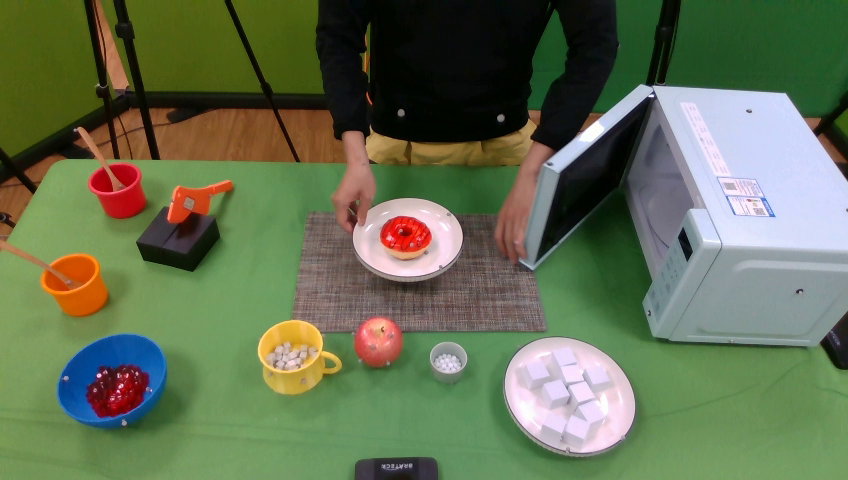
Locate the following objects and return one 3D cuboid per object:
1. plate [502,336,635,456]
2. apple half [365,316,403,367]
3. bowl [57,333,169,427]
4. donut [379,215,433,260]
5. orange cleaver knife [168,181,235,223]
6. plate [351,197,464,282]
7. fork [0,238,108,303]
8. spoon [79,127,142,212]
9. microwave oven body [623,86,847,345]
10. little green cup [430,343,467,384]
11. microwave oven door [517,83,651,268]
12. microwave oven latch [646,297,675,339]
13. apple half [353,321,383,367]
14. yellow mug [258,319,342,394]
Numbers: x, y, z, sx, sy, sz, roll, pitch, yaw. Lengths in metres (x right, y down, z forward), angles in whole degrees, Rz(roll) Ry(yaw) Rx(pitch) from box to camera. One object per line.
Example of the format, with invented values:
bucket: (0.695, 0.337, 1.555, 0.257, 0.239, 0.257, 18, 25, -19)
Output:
plate: (0.225, 0.248, 0.963, 0.208, 0.039, 0.206, 2, 46, -2)
apple half: (-0.063, 0.165, 1.000, 0.053, 0.075, 0.080, -16, 45, -24)
bowl: (-0.456, 0.223, 0.912, 0.151, 0.077, 0.150, 3, 45, -2)
donut: (-0.033, -0.006, 1.116, 0.099, 0.048, 0.098, 1, 45, -1)
orange cleaver knife: (-0.436, -0.078, 1.196, 0.012, 0.077, 0.211, 16, 15, 10)
plate: (-0.030, 0.002, 1.124, 0.209, 0.038, 0.208, 1, 46, -1)
fork: (-0.633, 0.048, 1.017, 0.208, 0.018, 0.028, 40, 41, -27)
spoon: (-0.624, -0.140, 1.203, 0.041, 0.021, 0.194, -33, 100, -26)
microwave oven body: (0.567, -0.053, 1.118, 0.326, 0.261, 0.439, 2, 45, -1)
little green cup: (0.039, 0.203, 0.994, 0.061, 0.039, 0.061, 2, 46, -2)
microwave oven door: (0.313, -0.128, 1.166, 0.039, 0.245, 0.355, 34, 53, 25)
microwave oven latch: (0.412, 0.134, 1.061, 0.030, 0.029, 0.078, 4, 45, 1)
apple half: (-0.097, 0.177, 0.984, 0.033, 0.081, 0.081, -17, 49, -25)
yellow mug: (-0.195, 0.188, 0.972, 0.131, 0.064, 0.099, 9, 46, 4)
